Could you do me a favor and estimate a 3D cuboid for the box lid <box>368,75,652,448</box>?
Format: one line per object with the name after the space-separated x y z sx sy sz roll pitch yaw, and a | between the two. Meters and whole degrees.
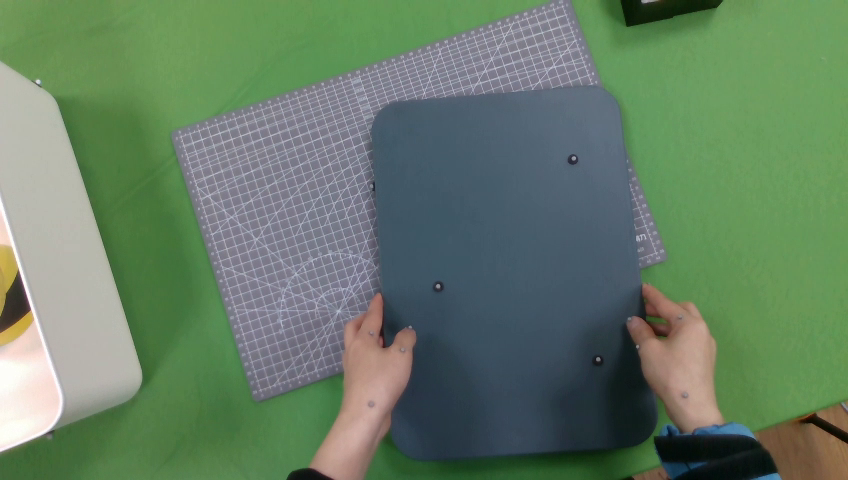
0.082 0.014 0.616 0.263 0.015 0.370 -5 83 1 | box lid

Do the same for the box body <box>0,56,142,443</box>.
-0.455 0.020 0.561 0.254 0.160 0.363 -21 86 -1 | box body

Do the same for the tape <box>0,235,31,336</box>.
-0.458 0.045 0.608 0.117 0.053 0.116 0 86 1 | tape
